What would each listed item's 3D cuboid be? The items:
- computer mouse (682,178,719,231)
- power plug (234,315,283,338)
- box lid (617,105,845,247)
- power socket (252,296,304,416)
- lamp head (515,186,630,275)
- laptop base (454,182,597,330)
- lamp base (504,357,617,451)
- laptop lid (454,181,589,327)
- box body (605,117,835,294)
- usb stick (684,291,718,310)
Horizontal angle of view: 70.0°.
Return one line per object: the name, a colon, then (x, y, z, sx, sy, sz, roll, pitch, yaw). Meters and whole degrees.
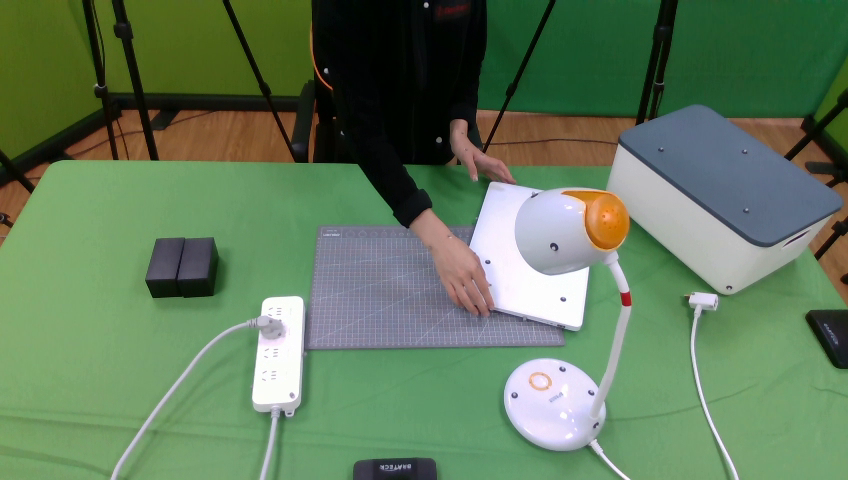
computer mouse: (0.596, -0.078, 1.290, 0.117, 0.041, 0.062, 56, 44, -7)
power plug: (-0.269, 0.143, 1.000, 0.072, 0.053, 0.035, 5, 47, 3)
box lid: (0.586, -0.138, 1.176, 0.263, 0.015, 0.369, -22, 51, -23)
power socket: (-0.238, 0.181, 0.997, 0.072, 0.033, 0.225, -3, 47, -5)
lamp head: (0.188, -0.013, 0.728, 0.112, 0.112, 0.122, -25, 9, -25)
laptop base: (0.211, 0.018, 1.202, 0.235, 0.023, 0.352, 11, 46, 10)
lamp base: (0.220, 0.211, 0.903, 0.160, 0.181, 0.178, -33, 59, -30)
laptop lid: (0.210, 0.010, 1.193, 0.241, 0.013, 0.355, 13, 46, 11)
box body: (0.582, -0.089, 1.230, 0.254, 0.161, 0.361, -22, 52, -23)
usb stick: (0.509, 0.111, 1.121, 0.059, 0.021, 0.027, 6, 54, 46)
